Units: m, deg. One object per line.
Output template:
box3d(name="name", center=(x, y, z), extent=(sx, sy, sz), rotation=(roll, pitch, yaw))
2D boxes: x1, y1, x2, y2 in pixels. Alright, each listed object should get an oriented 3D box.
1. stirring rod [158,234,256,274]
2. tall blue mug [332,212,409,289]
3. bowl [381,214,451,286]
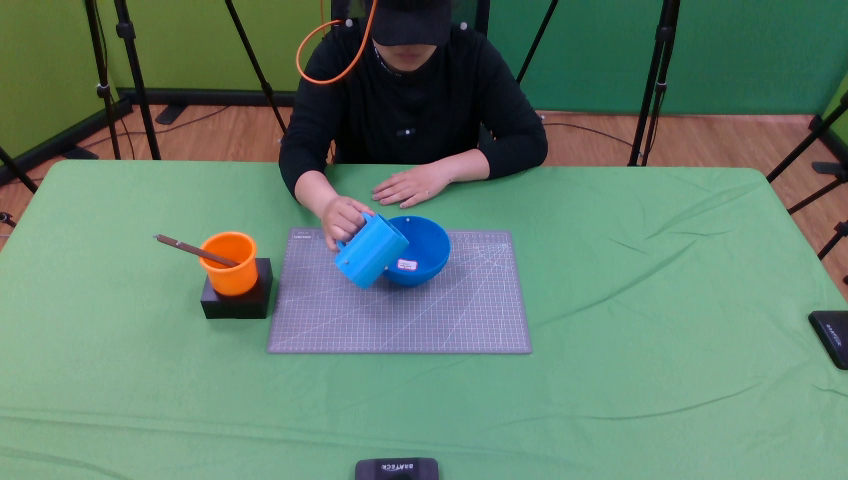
box3d(name="stirring rod", center=(-0.353, 0.024, 1.000), extent=(0.177, 0.006, 0.014), rotation=(26, 32, -41))
box3d(name="tall blue mug", center=(-0.100, 0.007, 1.012), extent=(0.107, 0.078, 0.108), rotation=(44, 95, 2))
box3d(name="bowl", center=(-0.028, 0.032, 1.122), extent=(0.151, 0.077, 0.150), rotation=(2, 47, -2))
